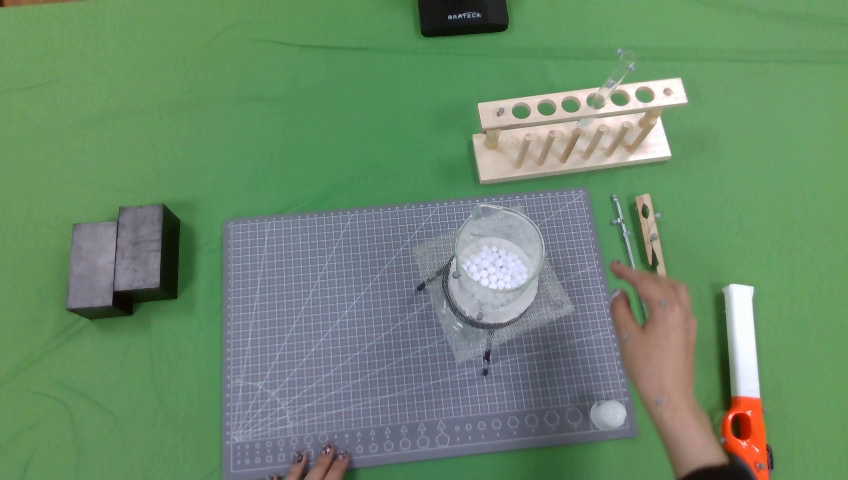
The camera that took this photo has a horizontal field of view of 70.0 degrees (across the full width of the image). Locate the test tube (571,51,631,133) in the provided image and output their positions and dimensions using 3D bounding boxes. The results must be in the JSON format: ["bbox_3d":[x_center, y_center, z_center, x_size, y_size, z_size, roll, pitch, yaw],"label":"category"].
[{"bbox_3d":[0.200,-0.166,0.698,0.017,0.151,0.017,2,70,-6],"label":"test tube"}]

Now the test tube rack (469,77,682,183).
[{"bbox_3d":[0.182,-0.132,0.739,0.242,0.085,0.066,-8,71,-3],"label":"test tube rack"}]

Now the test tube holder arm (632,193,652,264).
[{"bbox_3d":[0.267,-0.014,0.736,0.010,0.015,0.087,-15,70,29],"label":"test tube holder arm"}]

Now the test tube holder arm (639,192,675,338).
[{"bbox_3d":[0.276,0.027,0.720,0.013,0.015,0.177,-16,70,28],"label":"test tube holder arm"}]

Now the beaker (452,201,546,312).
[{"bbox_3d":[0.060,0.019,0.537,0.074,0.101,0.083,-20,72,-5],"label":"beaker"}]

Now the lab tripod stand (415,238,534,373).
[{"bbox_3d":[0.056,0.061,0.643,0.148,0.132,0.147,0,72,1],"label":"lab tripod stand"}]

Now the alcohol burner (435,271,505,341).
[{"bbox_3d":[0.051,0.066,0.652,0.078,0.120,0.077,0,69,0],"label":"alcohol burner"}]

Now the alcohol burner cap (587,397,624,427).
[{"bbox_3d":[0.198,0.183,0.653,0.034,0.048,0.033,0,70,0],"label":"alcohol burner cap"}]

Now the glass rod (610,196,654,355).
[{"bbox_3d":[0.246,0.038,0.723,0.008,0.008,0.198,-7,71,-4],"label":"glass rod"}]

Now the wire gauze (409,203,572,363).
[{"bbox_3d":[0.062,0.037,0.582,0.121,0.011,0.124,-22,74,-4],"label":"wire gauze"}]

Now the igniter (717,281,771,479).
[{"bbox_3d":[0.349,0.181,0.667,0.057,0.025,0.275,8,71,-8],"label":"igniter"}]
